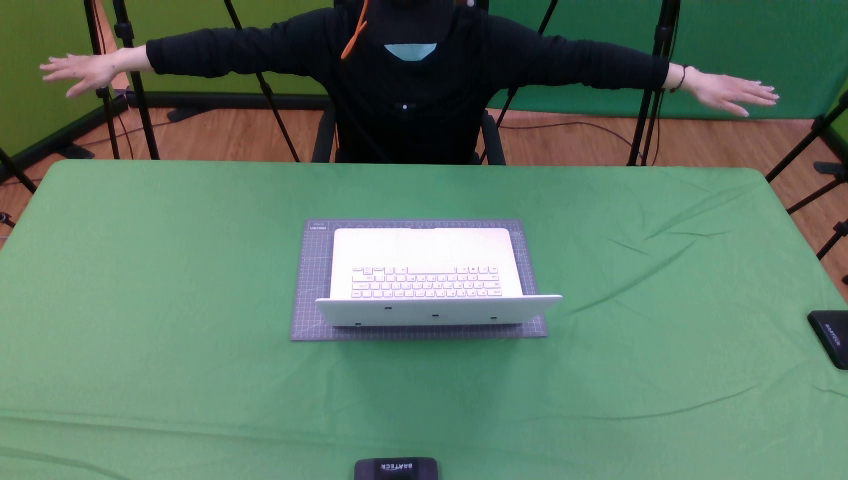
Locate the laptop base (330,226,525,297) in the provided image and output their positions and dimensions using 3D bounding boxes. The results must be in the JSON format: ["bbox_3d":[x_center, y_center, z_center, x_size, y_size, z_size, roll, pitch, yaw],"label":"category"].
[{"bbox_3d":[0.005,0.061,1.136,0.355,0.023,0.234,0,43,-4],"label":"laptop base"}]

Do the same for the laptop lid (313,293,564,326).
[{"bbox_3d":[0.017,0.112,0.945,0.357,0.242,0.013,0,74,-5],"label":"laptop lid"}]
